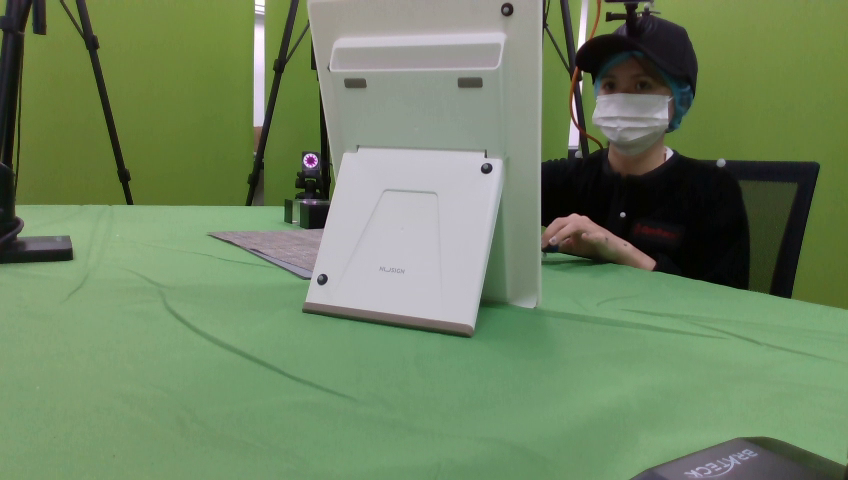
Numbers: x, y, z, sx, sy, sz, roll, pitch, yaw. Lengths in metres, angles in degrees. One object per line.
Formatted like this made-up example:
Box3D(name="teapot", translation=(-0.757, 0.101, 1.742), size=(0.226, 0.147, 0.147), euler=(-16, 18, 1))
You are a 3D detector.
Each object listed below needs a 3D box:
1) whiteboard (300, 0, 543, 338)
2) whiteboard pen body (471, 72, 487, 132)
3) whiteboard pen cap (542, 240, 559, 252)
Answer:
Box3D(name="whiteboard", translation=(-0.020, -0.050, 0.523), size=(0.216, 0.305, 0.144), euler=(6, 27, 22))
Box3D(name="whiteboard pen body", translation=(0.065, -0.164, 0.715), size=(0.017, 0.017, 0.140), euler=(3, 40, 0))
Box3D(name="whiteboard pen cap", translation=(0.185, 0.008, 0.908), size=(0.033, 0.018, 0.018), euler=(2, 7, 22))
